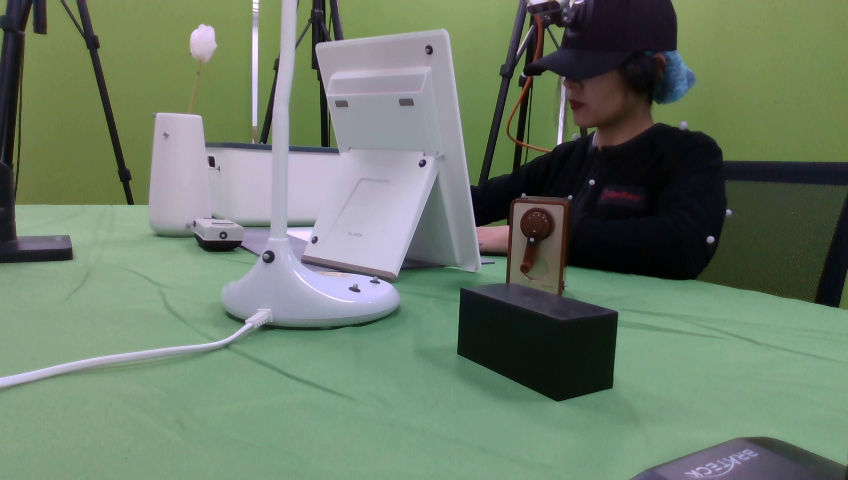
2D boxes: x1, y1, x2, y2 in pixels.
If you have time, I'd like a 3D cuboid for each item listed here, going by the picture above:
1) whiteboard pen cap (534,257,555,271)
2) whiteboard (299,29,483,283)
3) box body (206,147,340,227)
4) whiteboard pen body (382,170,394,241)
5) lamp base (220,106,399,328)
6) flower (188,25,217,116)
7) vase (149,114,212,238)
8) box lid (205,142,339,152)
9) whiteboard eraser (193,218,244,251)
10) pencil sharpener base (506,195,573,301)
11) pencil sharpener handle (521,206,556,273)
[{"bbox_3d":[0.166,0.033,0.839,0.018,0.018,0.033,-1,6,-23],"label":"whiteboard pen cap"},{"bbox_3d":[-0.074,-0.082,0.742,0.216,0.305,0.144,9,29,38],"label":"whiteboard"},{"bbox_3d":[-0.276,-0.122,1.320,0.366,0.160,0.253,-2,9,-30],"label":"box body"},{"bbox_3d":[-0.064,-0.061,1.062,0.017,0.140,0.017,1,-26,1],"label":"whiteboard pen body"},{"bbox_3d":[-0.102,-0.023,0.531,0.160,0.180,0.179,4,10,10],"label":"lamp base"},{"bbox_3d":[-0.394,-0.189,1.011,0.044,0.361,0.038,-1,-13,28],"label":"flower"},{"bbox_3d":[-0.405,-0.106,1.005,0.098,0.200,0.098,2,6,0],"label":"vase"},{"bbox_3d":[-0.270,-0.196,1.310,0.373,0.015,0.262,-2,9,-30],"label":"box lid"},{"bbox_3d":[-0.307,-0.010,0.900,0.056,0.042,0.112,-4,11,-28],"label":"whiteboard eraser"},{"bbox_3d":[0.127,0.007,0.663,0.061,0.107,0.077,5,8,15],"label":"pencil sharpener base"},{"bbox_3d":[0.111,0.000,0.613,0.036,0.067,0.031,13,10,14],"label":"pencil sharpener handle"}]
